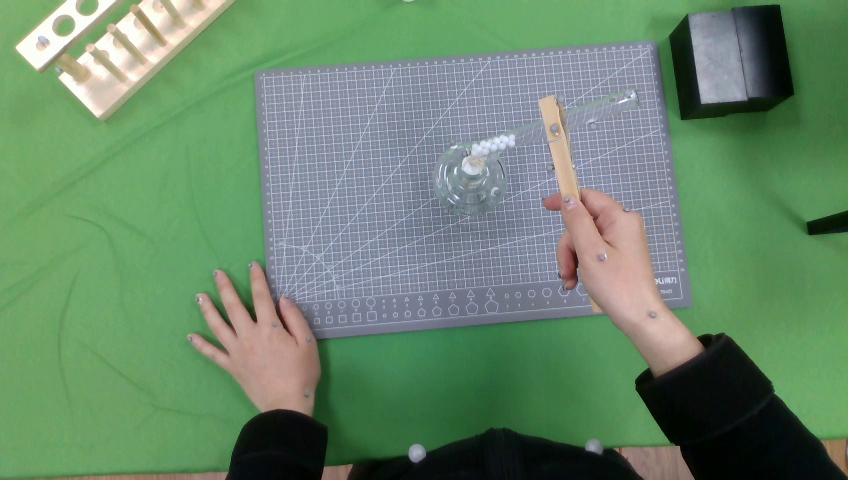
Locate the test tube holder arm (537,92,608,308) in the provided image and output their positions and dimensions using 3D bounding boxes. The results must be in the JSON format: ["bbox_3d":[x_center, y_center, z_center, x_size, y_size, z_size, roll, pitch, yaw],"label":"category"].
[{"bbox_3d":[0.119,-0.032,0.489,0.015,0.013,0.178,-15,86,31],"label":"test tube holder arm"}]

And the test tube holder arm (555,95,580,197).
[{"bbox_3d":[0.113,-0.076,0.499,0.015,0.010,0.087,-15,77,31],"label":"test tube holder arm"}]

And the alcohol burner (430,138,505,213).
[{"bbox_3d":[0.045,-0.069,0.604,0.078,0.119,0.077,0,81,1],"label":"alcohol burner"}]

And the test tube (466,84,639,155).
[{"bbox_3d":[0.101,-0.097,0.501,0.150,0.017,0.017,-14,82,31],"label":"test tube"}]

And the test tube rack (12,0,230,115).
[{"bbox_3d":[-0.290,-0.248,0.633,0.066,0.085,0.242,45,85,4],"label":"test tube rack"}]
